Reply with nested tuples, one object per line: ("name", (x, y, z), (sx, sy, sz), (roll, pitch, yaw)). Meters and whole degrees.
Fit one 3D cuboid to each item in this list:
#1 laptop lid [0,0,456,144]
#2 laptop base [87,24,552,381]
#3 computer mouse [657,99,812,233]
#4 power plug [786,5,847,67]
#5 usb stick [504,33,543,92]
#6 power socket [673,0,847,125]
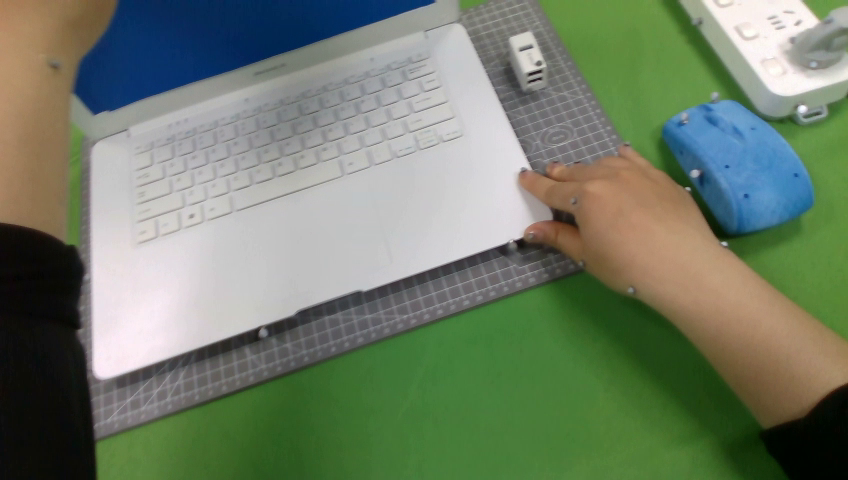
("laptop lid", (-0.154, -0.197, 0.455), (0.357, 0.244, 0.013), (-20, 61, 0))
("laptop base", (-0.102, -0.046, 0.499), (0.354, 0.023, 0.233), (-19, 62, -2))
("computer mouse", (0.223, -0.060, 0.440), (0.063, 0.041, 0.116), (-20, 54, 1))
("power plug", (0.311, -0.148, 0.453), (0.072, 0.053, 0.035), (-7, 61, 5))
("usb stick", (0.084, -0.158, 0.524), (0.021, 0.027, 0.058), (-16, 56, 1))
("power socket", (0.268, -0.190, 0.509), (0.072, 0.033, 0.224), (-17, 59, 2))
